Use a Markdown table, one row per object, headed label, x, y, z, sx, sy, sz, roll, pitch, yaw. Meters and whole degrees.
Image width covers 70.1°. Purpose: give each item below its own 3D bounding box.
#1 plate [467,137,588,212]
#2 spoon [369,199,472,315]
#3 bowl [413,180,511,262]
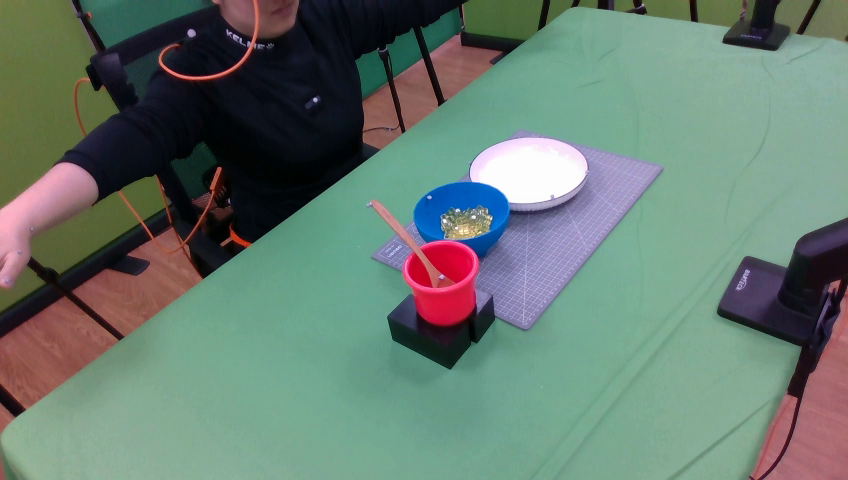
| label | x | y | z | sx | sy | sz | roll | pitch | yaw |
| --- | --- | --- | --- | --- | --- | --- | --- | --- | --- |
| plate | 0.181 | -0.112 | 1.064 | 0.207 | 0.039 | 0.206 | -5 | 40 | 5 |
| spoon | -0.006 | 0.020 | 0.787 | 0.042 | 0.021 | 0.194 | -39 | 92 | -27 |
| bowl | 0.062 | -0.019 | 0.944 | 0.151 | 0.077 | 0.150 | -5 | 40 | 5 |
